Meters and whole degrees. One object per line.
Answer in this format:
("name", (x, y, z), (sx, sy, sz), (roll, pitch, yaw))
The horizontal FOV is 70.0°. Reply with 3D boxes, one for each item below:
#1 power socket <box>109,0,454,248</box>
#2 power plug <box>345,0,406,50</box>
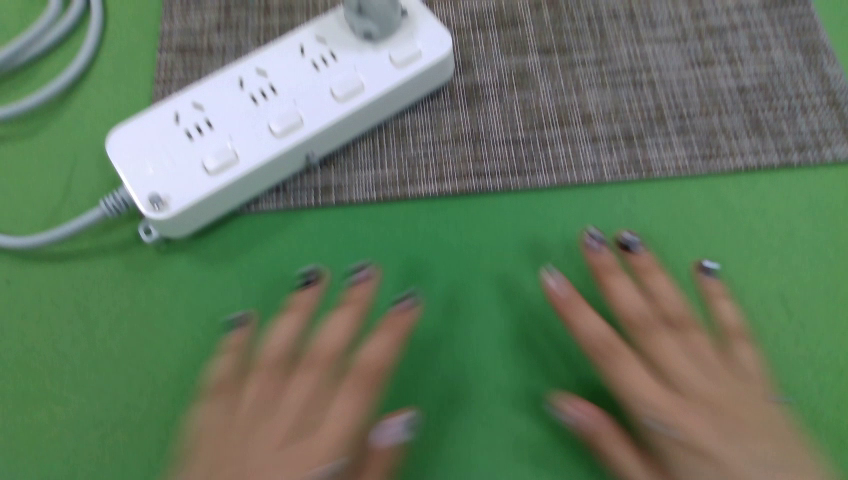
("power socket", (-0.081, -0.079, 0.372), (0.227, 0.033, 0.071), (-33, 69, -13))
("power plug", (-0.038, -0.149, 0.378), (0.035, 0.053, 0.072), (-23, 69, -9))
